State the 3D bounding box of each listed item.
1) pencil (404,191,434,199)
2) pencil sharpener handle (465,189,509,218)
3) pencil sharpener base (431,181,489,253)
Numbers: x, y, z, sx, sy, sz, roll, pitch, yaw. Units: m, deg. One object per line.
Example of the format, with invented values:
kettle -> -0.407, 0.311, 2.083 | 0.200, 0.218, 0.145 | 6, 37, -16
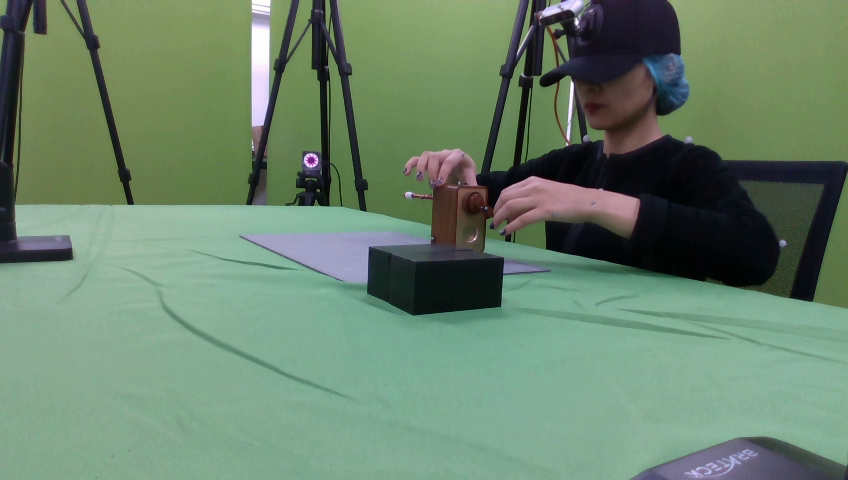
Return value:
pencil -> 0.017, -0.072, 1.009 | 0.012, 0.012, 0.193 | -2, 8, -31
pencil sharpener handle -> 0.096, -0.051, 0.905 | 0.068, 0.036, 0.030 | 28, -7, -32
pencil sharpener base -> 0.057, -0.037, 0.943 | 0.062, 0.107, 0.076 | -2, 9, -31
